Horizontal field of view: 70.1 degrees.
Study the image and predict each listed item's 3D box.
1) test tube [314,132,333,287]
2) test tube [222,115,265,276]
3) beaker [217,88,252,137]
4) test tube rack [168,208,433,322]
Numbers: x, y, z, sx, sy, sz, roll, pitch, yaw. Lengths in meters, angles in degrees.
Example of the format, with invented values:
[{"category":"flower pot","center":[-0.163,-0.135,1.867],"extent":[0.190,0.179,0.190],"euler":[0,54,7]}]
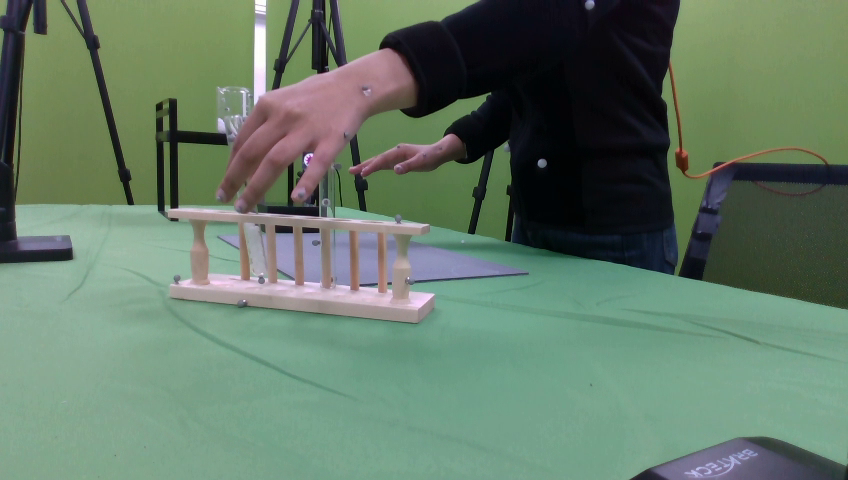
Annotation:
[{"category":"test tube","center":[-0.097,-0.028,0.582],"extent":[0.017,0.150,0.017],"euler":[0,9,0]},{"category":"test tube","center":[-0.166,-0.039,0.559],"extent":[0.017,0.150,0.017],"euler":[-7,11,2]},{"category":"beaker","center":[-0.412,-0.276,1.309],"extent":[0.074,0.100,0.084],"euler":[4,8,16]},{"category":"test tube rack","center":[-0.116,0.017,0.574],"extent":[0.242,0.085,0.067],"euler":[4,8,13]}]
